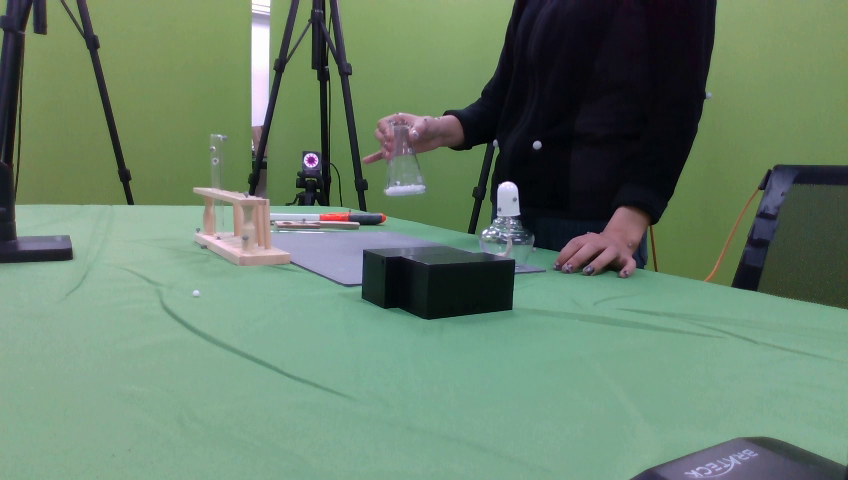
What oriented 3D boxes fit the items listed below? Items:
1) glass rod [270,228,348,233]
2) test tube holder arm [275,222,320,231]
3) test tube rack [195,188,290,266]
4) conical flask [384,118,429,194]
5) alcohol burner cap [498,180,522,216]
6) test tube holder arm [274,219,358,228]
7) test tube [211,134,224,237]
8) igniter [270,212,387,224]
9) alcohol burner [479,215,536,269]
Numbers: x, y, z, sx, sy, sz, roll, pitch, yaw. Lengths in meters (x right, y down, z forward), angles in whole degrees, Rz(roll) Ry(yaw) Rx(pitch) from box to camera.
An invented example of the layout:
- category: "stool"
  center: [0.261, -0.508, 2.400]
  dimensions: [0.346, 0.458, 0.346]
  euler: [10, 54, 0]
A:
- category: "glass rod"
  center: [-0.235, -0.017, 1.105]
  dimensions: [0.201, 0.008, 0.008]
  euler: [1, 7, -26]
- category: "test tube holder arm"
  center: [-0.238, -0.026, 1.145]
  dimensions: [0.088, 0.015, 0.010]
  euler: [-3, 45, -39]
- category: "test tube rack"
  center: [-0.266, -0.025, 0.864]
  dimensions: [0.067, 0.085, 0.241]
  euler: [-2, 9, -33]
- category: "conical flask"
  center: [-0.033, -0.138, 1.004]
  dimensions: [0.075, 0.122, 0.075]
  euler: [-4, 3, 1]
- category: "alcohol burner cap"
  center: [0.114, -0.056, 0.809]
  dimensions: [0.034, 0.048, 0.034]
  euler: [-5, 12, 1]
- category: "test tube holder arm"
  center: [-0.206, -0.032, 1.176]
  dimensions: [0.179, 0.015, 0.013]
  euler: [-4, 45, -39]
- category: "test tube"
  center: [-0.300, -0.078, 0.881]
  dimensions: [0.017, 0.150, 0.017]
  euler: [3, 11, 0]
- category: "igniter"
  center: [-0.213, -0.048, 1.278]
  dimensions: [0.278, 0.025, 0.057]
  euler: [-1, -2, -25]
- category: "alcohol burner"
  center: [0.114, -0.021, 0.816]
  dimensions: [0.078, 0.119, 0.078]
  euler: [2, 9, 0]
